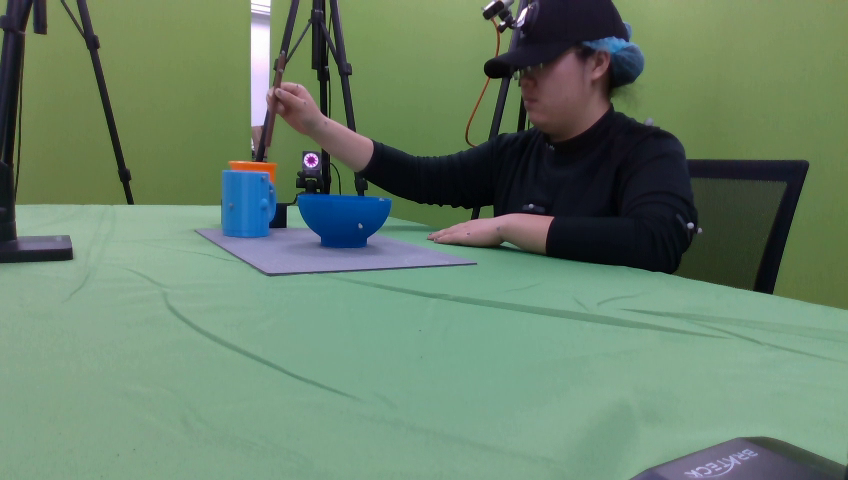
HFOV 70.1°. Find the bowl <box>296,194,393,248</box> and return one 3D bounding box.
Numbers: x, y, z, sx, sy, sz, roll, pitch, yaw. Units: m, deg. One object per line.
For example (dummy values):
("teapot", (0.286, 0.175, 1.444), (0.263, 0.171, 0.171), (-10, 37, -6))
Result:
("bowl", (-0.127, -0.030, 0.963), (0.151, 0.077, 0.151), (2, 7, 0))

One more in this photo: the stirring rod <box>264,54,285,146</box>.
("stirring rod", (-0.279, -0.263, 1.130), (0.006, 0.176, 0.014), (8, -3, 20))

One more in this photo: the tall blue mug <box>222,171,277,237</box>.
("tall blue mug", (-0.303, -0.064, 1.043), (0.078, 0.108, 0.107), (1, 7, -4))
